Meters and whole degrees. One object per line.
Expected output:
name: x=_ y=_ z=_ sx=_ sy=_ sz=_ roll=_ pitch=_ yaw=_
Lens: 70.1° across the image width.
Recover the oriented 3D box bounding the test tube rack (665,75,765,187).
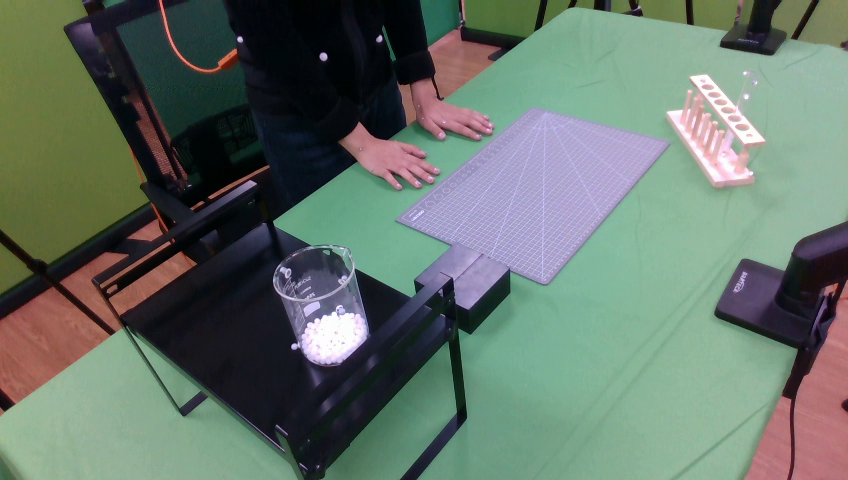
test tube rack: x=0.512 y=-0.201 z=1.082 sx=0.067 sy=0.085 sz=0.241 roll=-6 pitch=41 yaw=2

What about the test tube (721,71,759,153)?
test tube: x=0.529 y=-0.212 z=1.015 sx=0.017 sy=0.151 sz=0.017 roll=0 pitch=40 yaw=0

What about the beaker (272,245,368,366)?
beaker: x=-0.093 y=0.064 z=0.578 sx=0.073 sy=0.101 sz=0.084 roll=21 pitch=48 yaw=29
